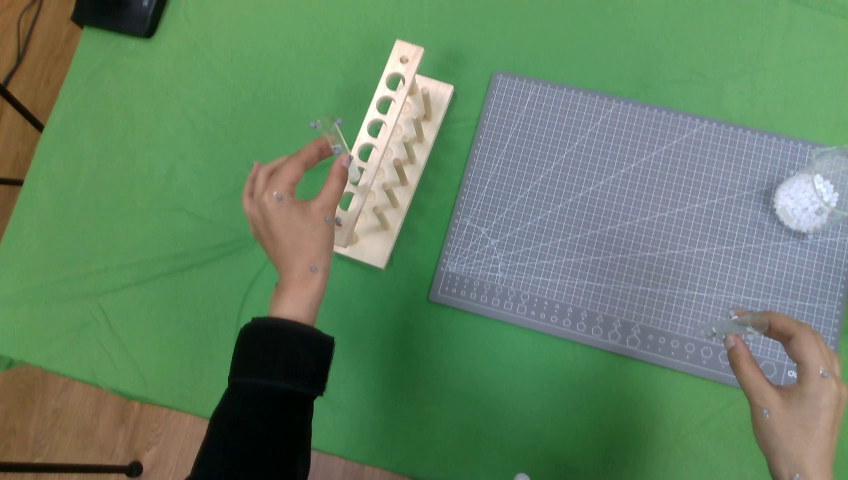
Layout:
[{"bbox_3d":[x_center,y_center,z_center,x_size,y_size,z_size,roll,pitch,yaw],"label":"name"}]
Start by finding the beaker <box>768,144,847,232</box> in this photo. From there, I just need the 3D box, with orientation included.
[{"bbox_3d":[0.423,-0.053,0.650,0.074,0.101,0.083,-42,78,-4],"label":"beaker"}]

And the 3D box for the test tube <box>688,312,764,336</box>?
[{"bbox_3d":[0.263,0.076,0.537,0.017,0.151,0.017,-1,80,7],"label":"test tube"}]

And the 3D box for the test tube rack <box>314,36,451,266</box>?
[{"bbox_3d":[-0.042,-0.099,0.698,0.066,0.085,0.241,20,82,8],"label":"test tube rack"}]

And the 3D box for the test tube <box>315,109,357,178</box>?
[{"bbox_3d":[-0.081,-0.087,0.576,0.017,0.151,0.017,0,78,2],"label":"test tube"}]
